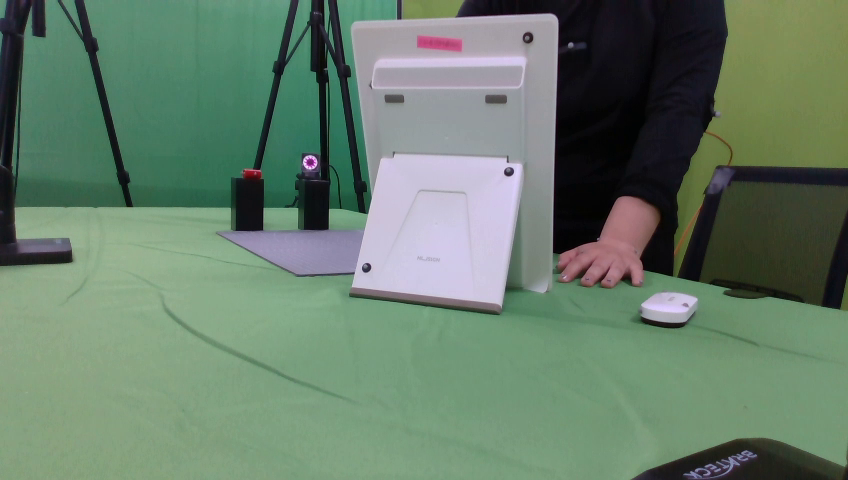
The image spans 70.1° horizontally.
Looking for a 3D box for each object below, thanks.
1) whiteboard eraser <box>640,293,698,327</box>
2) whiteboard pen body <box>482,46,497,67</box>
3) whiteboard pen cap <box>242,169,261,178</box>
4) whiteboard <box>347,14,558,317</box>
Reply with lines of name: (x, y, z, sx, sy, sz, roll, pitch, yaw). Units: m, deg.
whiteboard eraser: (0.240, 0.067, 0.590, 0.041, 0.019, 0.102, 6, 7, 32)
whiteboard pen body: (0.073, -0.204, 0.673, 0.017, 0.017, 0.140, 3, 22, 4)
whiteboard pen cap: (-0.326, -0.125, 1.144, 0.032, 0.017, 0.017, 0, 7, -37)
whiteboard: (0.012, -0.056, 0.608, 0.216, 0.305, 0.144, 6, 28, 20)
